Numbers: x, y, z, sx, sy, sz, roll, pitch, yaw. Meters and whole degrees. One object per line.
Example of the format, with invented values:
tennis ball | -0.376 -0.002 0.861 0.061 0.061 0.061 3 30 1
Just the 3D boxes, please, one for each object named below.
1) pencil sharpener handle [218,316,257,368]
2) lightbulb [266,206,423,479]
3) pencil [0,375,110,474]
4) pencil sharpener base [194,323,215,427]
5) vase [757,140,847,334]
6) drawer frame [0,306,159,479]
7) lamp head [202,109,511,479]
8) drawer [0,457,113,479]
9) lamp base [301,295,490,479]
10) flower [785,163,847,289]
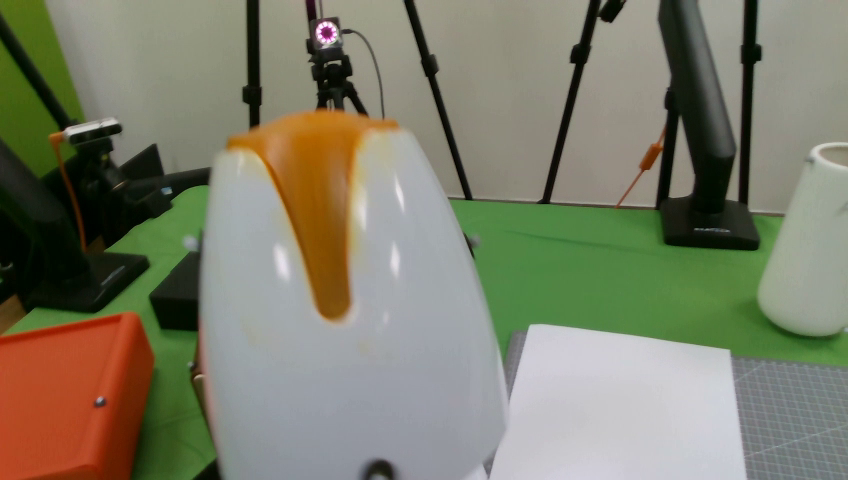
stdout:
pencil sharpener handle | -0.187 0.098 0.618 0.036 0.068 0.030 -6 31 -12
lightbulb | -0.028 0.041 0.225 0.059 0.108 0.059 3 15 -1
pencil | -0.366 0.192 0.545 0.012 0.012 0.193 18 50 33
pencil sharpener base | -0.174 0.133 0.582 0.061 0.108 0.076 -11 32 -9
vase | 0.418 0.000 0.634 0.098 0.201 0.097 -4 30 3
drawer frame | -0.376 0.171 0.571 0.202 0.083 0.211 -11 31 -9
lamp head | -0.029 0.014 0.226 0.112 0.123 0.112 -8 8 2
drawer | -0.374 0.174 0.570 0.195 0.074 0.209 -11 31 -9
lamp base | -0.026 0.143 0.455 0.160 0.182 0.177 0 37 3
flower | 0.401 -0.059 0.575 0.038 0.365 0.043 -32 52 -15
